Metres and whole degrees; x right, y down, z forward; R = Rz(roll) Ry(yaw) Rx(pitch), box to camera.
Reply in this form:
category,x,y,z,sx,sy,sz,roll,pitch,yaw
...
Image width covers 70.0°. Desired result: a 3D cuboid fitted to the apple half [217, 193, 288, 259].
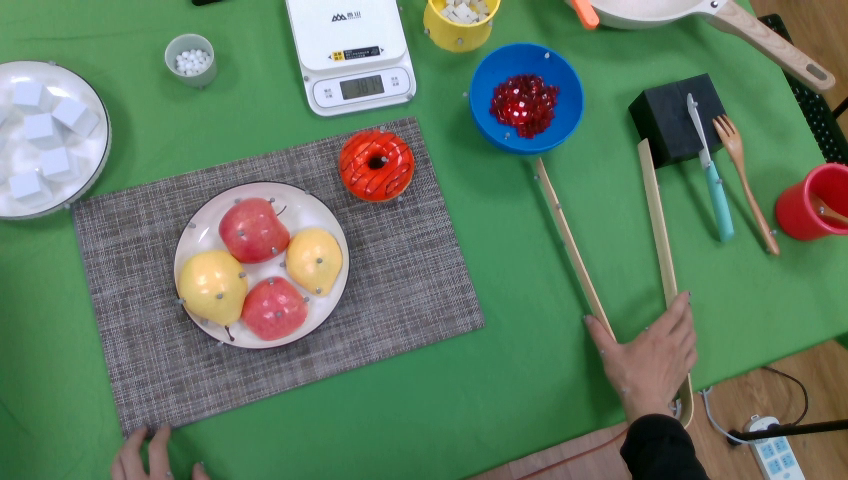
category,x,y,z,sx,sy,sz,roll,pitch,yaw
apple half,-0.212,-0.018,0.734,0.074,0.053,0.080,-29,85,-8

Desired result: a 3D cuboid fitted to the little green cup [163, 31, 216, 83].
category,x,y,z,sx,sy,sz,roll,pitch,yaw
little green cup,-0.305,-0.237,0.795,0.061,0.039,0.061,1,77,-5

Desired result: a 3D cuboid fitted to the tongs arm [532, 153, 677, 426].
category,x,y,z,sx,sy,sz,roll,pitch,yaw
tongs arm,0.231,0.058,0.788,0.051,0.026,0.383,-17,81,-14

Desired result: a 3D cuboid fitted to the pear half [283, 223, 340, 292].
category,x,y,z,sx,sy,sz,roll,pitch,yaw
pear half,-0.141,0.020,0.745,0.070,0.031,0.087,-18,77,4

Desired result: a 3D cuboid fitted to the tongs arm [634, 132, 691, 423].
category,x,y,z,sx,sy,sz,roll,pitch,yaw
tongs arm,0.312,0.042,0.804,0.028,0.028,0.385,-2,78,-14

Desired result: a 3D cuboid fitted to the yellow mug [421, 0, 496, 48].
category,x,y,z,sx,sy,sz,roll,pitch,yaw
yellow mug,0.035,-0.337,0.838,0.130,0.064,0.100,39,77,4

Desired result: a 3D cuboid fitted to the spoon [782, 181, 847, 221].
category,x,y,z,sx,sy,sz,roll,pitch,yaw
spoon,0.547,-0.026,0.783,0.041,0.022,0.191,-22,36,-11

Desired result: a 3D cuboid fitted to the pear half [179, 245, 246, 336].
category,x,y,z,sx,sy,sz,roll,pitch,yaw
pear half,-0.242,0.059,0.710,0.076,0.056,0.109,-22,84,-19

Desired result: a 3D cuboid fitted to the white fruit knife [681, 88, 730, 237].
category,x,y,z,sx,sy,sz,roll,pitch,yaw
white fruit knife,0.378,-0.104,0.816,0.016,0.027,0.207,-19,95,-10

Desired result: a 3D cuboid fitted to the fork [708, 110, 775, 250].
category,x,y,z,sx,sy,sz,roll,pitch,yaw
fork,0.435,-0.080,0.824,0.028,0.018,0.208,-26,97,-13

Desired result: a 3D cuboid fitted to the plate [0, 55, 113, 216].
category,x,y,z,sx,sy,sz,roll,pitch,yaw
plate,-0.492,-0.127,0.751,0.208,0.039,0.206,1,77,-6

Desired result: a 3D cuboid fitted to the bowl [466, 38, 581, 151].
category,x,y,z,sx,sy,sz,roll,pitch,yaw
bowl,0.125,-0.181,0.807,0.151,0.077,0.150,1,78,-6

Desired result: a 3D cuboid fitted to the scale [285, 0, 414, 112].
category,x,y,z,sx,sy,sz,roll,pitch,yaw
scale,-0.103,-0.280,0.828,0.149,0.031,0.200,-12,80,-8

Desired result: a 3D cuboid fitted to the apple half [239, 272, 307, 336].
category,x,y,z,sx,sy,sz,roll,pitch,yaw
apple half,-0.185,0.075,0.725,0.081,0.033,0.081,1,70,-3

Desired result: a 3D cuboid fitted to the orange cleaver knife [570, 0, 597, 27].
category,x,y,z,sx,sy,sz,roll,pitch,yaw
orange cleaver knife,0.191,-0.387,0.826,0.077,0.012,0.210,-26,82,-14

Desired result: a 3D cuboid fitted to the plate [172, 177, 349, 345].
category,x,y,z,sx,sy,sz,roll,pitch,yaw
plate,-0.196,0.026,0.744,0.209,0.038,0.208,1,77,-6

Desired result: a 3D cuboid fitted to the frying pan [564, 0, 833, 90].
category,x,y,z,sx,sy,sz,roll,pitch,yaw
frying pan,0.365,-0.369,0.860,0.485,0.103,0.306,44,78,13

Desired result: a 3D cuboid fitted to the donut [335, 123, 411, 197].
category,x,y,z,sx,sy,sz,roll,pitch,yaw
donut,-0.066,-0.104,0.783,0.099,0.048,0.098,1,79,-3
